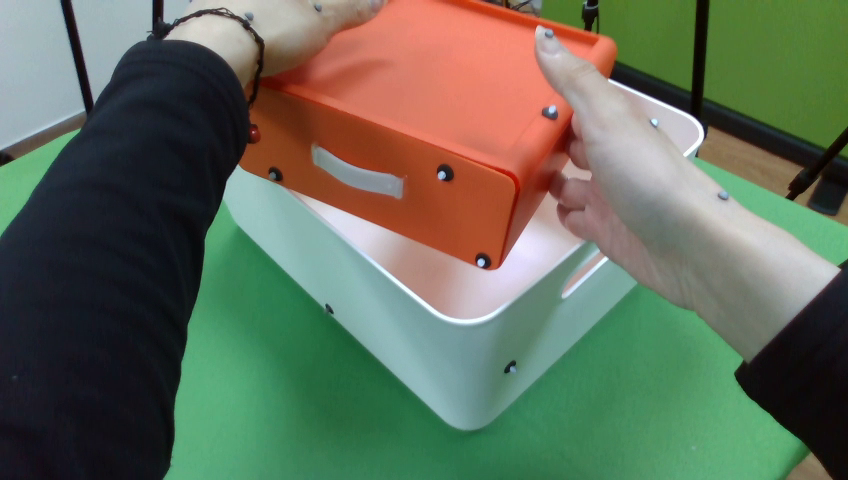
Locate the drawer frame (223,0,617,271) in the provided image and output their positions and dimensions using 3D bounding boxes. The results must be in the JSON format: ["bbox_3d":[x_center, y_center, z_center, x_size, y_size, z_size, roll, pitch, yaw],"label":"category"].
[{"bbox_3d":[0.008,-0.099,0.436,0.200,0.083,0.213,22,43,17],"label":"drawer frame"}]

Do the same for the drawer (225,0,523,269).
[{"bbox_3d":[0.007,-0.095,0.433,0.193,0.074,0.211,22,43,17],"label":"drawer"}]

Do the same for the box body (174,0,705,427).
[{"bbox_3d":[-0.001,-0.050,0.525,0.254,0.162,0.360,-36,54,-26],"label":"box body"}]

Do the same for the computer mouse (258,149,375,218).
[{"bbox_3d":[-0.048,-0.045,0.398,0.117,0.041,0.062,7,44,1],"label":"computer mouse"}]
